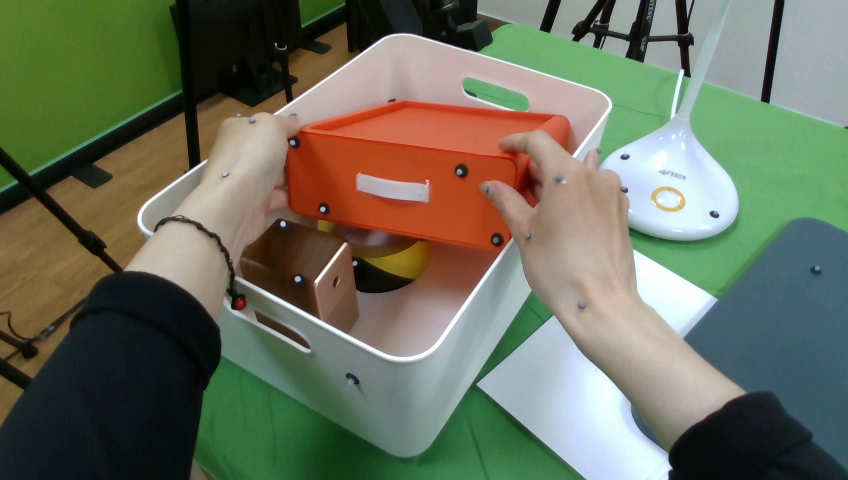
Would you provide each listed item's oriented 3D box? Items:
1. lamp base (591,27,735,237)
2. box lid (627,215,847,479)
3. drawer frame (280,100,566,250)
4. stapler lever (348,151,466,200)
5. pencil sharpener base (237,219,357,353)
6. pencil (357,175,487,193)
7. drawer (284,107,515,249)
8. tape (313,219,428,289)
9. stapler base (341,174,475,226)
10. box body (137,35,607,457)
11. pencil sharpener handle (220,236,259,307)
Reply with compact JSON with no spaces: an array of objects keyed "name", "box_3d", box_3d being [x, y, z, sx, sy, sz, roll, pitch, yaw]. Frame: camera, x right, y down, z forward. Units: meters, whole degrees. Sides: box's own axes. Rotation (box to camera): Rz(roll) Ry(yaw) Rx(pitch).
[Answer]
[{"name":"lamp base","box_3d":[0.278,-0.124,0.657,0.160,0.182,0.178,8,43,8]},{"name":"box lid","box_3d":[0.380,0.120,0.535,0.371,0.015,0.261,-34,54,-30]},{"name":"drawer frame","box_3d":[0.011,-0.073,0.564,0.201,0.083,0.213,9,22,20]},{"name":"stapler lever","box_3d":[-0.016,-0.063,0.526,0.117,0.040,0.027,17,25,35]},{"name":"pencil sharpener base","box_3d":[-0.108,0.044,0.526,0.076,0.108,0.061,17,48,17]},{"name":"pencil","box_3d":[-0.008,-0.052,0.564,0.012,0.012,0.192,-34,26,-30]},{"name":"drawer","box_3d":[0.011,-0.071,0.563,0.193,0.073,0.211,10,22,20]},{"name":"tape","box_3d":[-0.052,-0.007,0.621,0.117,0.053,0.115,-4,54,5]},{"name":"stapler base","box_3d":[-0.015,-0.041,0.535,0.129,0.024,0.041,16,24,35]},{"name":"box body","box_3d":[-0.021,-0.019,0.561,0.252,0.162,0.363,23,49,21]},{"name":"pencil sharpener handle","box_3d":[-0.159,0.024,0.524,0.030,0.068,0.036,17,15,17]}]
